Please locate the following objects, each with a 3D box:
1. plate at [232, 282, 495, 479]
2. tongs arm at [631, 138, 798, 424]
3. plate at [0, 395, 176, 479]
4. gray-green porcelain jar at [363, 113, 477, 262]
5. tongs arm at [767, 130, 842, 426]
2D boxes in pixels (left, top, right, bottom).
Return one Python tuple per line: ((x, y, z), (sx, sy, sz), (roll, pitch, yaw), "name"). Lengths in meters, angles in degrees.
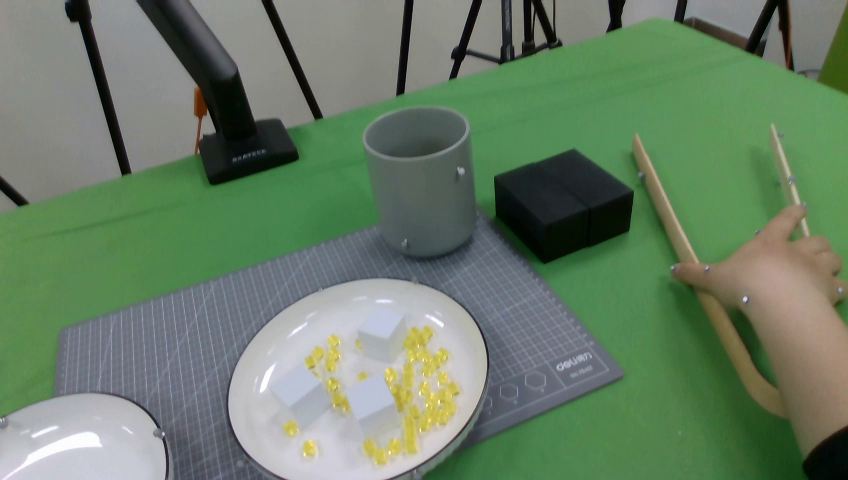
((-0.046, 0.116, 0.491), (0.207, 0.039, 0.205), (-5, 38, 4), "plate")
((0.256, 0.007, 0.588), (0.028, 0.028, 0.383), (-3, 39, 3), "tongs arm")
((-0.274, 0.203, 0.421), (0.209, 0.038, 0.207), (-6, 39, 5), "plate")
((0.000, -0.049, 0.618), (0.106, 0.128, 0.105), (-5, 38, 4), "gray-green porcelain jar")
((0.336, 0.005, 0.571), (0.050, 0.027, 0.382), (3, 41, 15), "tongs arm")
